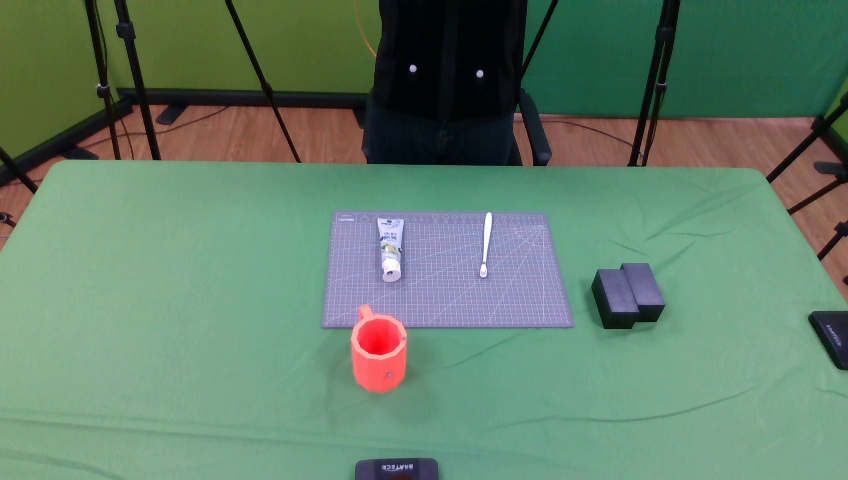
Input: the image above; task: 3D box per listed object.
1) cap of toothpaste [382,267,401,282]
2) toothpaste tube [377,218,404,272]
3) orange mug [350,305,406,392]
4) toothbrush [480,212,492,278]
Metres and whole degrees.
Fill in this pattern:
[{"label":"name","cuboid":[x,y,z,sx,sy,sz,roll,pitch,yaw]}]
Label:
[{"label":"cap of toothpaste","cuboid":[-0.060,0.063,1.118,0.037,0.037,0.011,-9,50,-12]},{"label":"toothpaste tube","cuboid":[-0.063,0.008,1.179,0.055,0.034,0.164,5,42,-9]},{"label":"orange mug","cuboid":[-0.080,0.168,0.978,0.083,0.101,0.125,-16,54,-18]},{"label":"toothbrush","cuboid":[0.124,0.004,1.202,0.014,0.017,0.181,-2,43,13]}]
